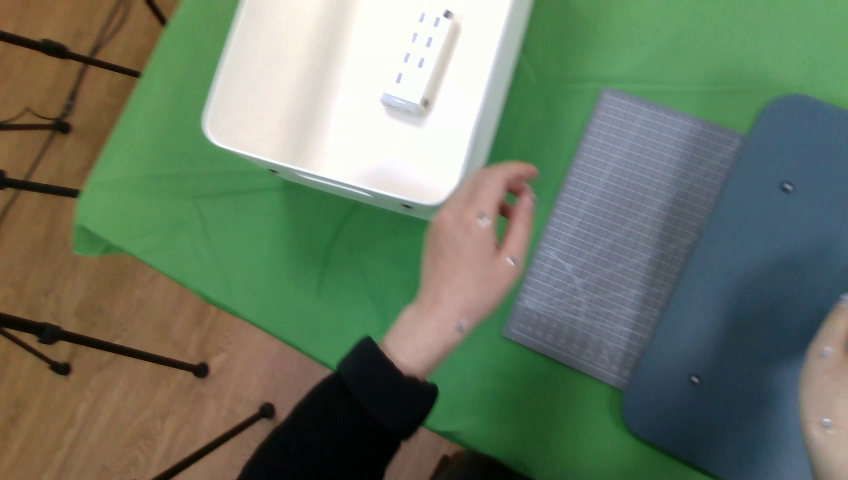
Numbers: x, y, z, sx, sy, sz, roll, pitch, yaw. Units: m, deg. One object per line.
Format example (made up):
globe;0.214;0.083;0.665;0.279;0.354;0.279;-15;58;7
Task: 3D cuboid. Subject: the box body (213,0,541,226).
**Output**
box body;-0.024;-0.216;0.643;0.253;0.161;0.363;16;85;11

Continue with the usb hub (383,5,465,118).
usb hub;0.001;-0.206;0.700;0.049;0.025;0.125;22;85;14

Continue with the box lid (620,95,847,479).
box lid;0.379;0.074;0.576;0.262;0.015;0.372;25;98;12
